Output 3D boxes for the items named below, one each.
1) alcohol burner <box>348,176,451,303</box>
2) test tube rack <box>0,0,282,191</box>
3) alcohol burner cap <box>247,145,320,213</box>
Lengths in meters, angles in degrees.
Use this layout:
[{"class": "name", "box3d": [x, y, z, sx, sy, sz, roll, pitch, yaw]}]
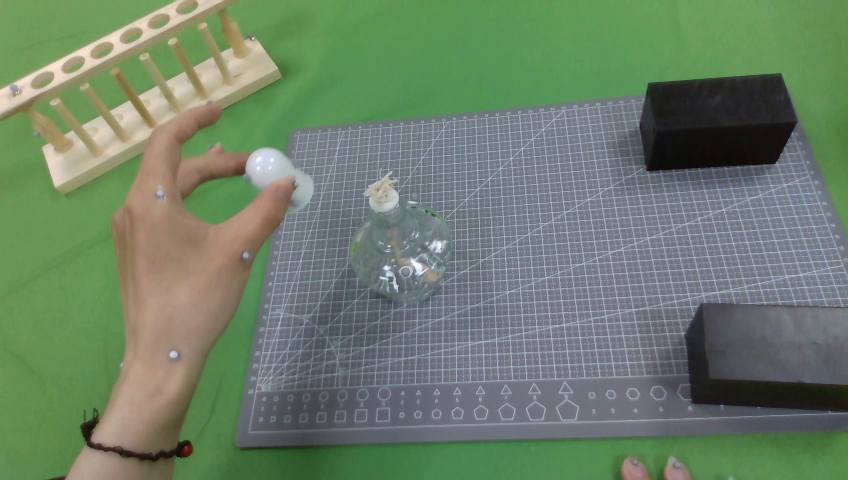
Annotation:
[{"class": "alcohol burner", "box3d": [-0.021, -0.004, 0.438, 0.078, 0.120, 0.077, -5, 56, 8]}, {"class": "test tube rack", "box3d": [-0.272, -0.152, 0.591, 0.242, 0.086, 0.066, -31, 59, -9]}, {"class": "alcohol burner cap", "box3d": [-0.094, -0.042, 0.394, 0.034, 0.048, 0.033, -12, 59, 21]}]
